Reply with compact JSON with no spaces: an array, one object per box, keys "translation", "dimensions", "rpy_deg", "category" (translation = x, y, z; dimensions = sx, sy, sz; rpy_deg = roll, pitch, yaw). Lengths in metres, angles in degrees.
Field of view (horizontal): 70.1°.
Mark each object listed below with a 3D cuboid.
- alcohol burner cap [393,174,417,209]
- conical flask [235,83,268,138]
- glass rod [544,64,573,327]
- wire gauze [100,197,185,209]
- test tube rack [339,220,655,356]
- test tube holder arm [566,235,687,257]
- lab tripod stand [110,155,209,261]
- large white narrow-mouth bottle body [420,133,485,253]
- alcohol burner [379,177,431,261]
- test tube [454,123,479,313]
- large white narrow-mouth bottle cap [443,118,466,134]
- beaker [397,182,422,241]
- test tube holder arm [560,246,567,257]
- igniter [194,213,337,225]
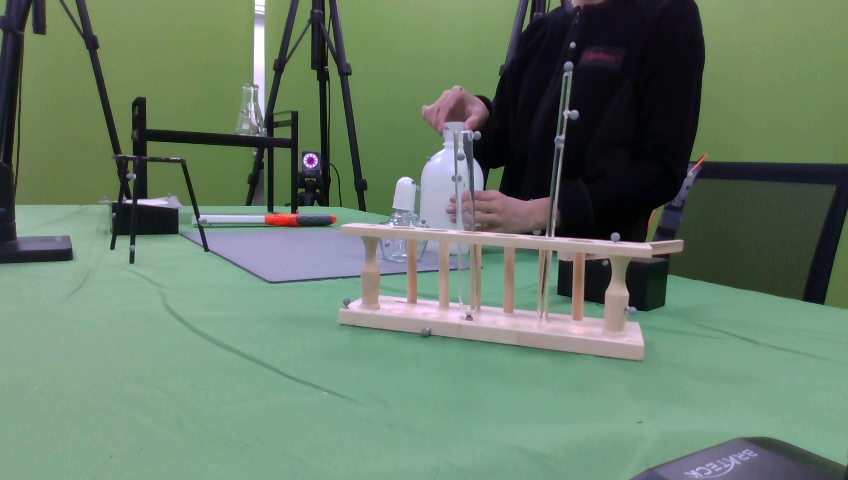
[{"translation":[-0.025,-0.067,0.834],"dimensions":[0.034,0.048,0.034],"rpy_deg":[8,7,-1],"category":"alcohol burner cap"},{"translation":[-0.402,-0.299,1.406],"dimensions":[0.075,0.122,0.075],"rpy_deg":[2,7,0],"category":"conical flask"},{"translation":[0.101,-0.028,0.453],"dimensions":[0.008,0.199,0.008],"rpy_deg":[1,14,0],"category":"glass rod"},{"translation":[-0.469,-0.062,1.008],"dimensions":[0.126,0.011,0.121],"rpy_deg":[-2,8,-25],"category":"wire gauze"},{"translation":[0.056,0.032,0.495],"dimensions":[0.242,0.085,0.067],"rpy_deg":[4,7,15],"category":"test tube rack"},{"translation":[0.215,0.006,0.630],"dimensions":[0.179,0.015,0.013],"rpy_deg":[-3,9,-31],"category":"test tube holder arm"},{"translation":[-0.361,-0.046,0.806],"dimensions":[0.148,0.131,0.148],"rpy_deg":[2,5,0],"category":"lab tripod stand"},{"translation":[0.046,-0.081,0.955],"dimensions":[0.102,0.194,0.102],"rpy_deg":[2,8,0],"category":"large white narrow-mouth bottle body"},{"translation":[-0.027,-0.031,0.838],"dimensions":[0.078,0.119,0.078],"rpy_deg":[0,6,0],"category":"alcohol burner"},{"translation":[0.034,-0.016,0.477],"dimensions":[0.017,0.150,0.017],"rpy_deg":[-2,9,1],"category":"test tube"},{"translation":[0.048,-0.177,0.942],"dimensions":[0.038,0.024,0.037],"rpy_deg":[2,8,0],"category":"large white narrow-mouth bottle cap"},{"translation":[-0.011,-0.051,1.078],"dimensions":[0.074,0.100,0.083],"rpy_deg":[-2,9,-26],"category":"beaker"},{"translation":[0.173,0.007,0.611],"dimensions":[0.088,0.015,0.010],"rpy_deg":[-3,9,-30],"category":"test tube holder arm"},{"translation":[-0.306,-0.042,1.196],"dimensions":[0.278,0.025,0.057],"rpy_deg":[-2,-2,-31],"category":"igniter"}]
